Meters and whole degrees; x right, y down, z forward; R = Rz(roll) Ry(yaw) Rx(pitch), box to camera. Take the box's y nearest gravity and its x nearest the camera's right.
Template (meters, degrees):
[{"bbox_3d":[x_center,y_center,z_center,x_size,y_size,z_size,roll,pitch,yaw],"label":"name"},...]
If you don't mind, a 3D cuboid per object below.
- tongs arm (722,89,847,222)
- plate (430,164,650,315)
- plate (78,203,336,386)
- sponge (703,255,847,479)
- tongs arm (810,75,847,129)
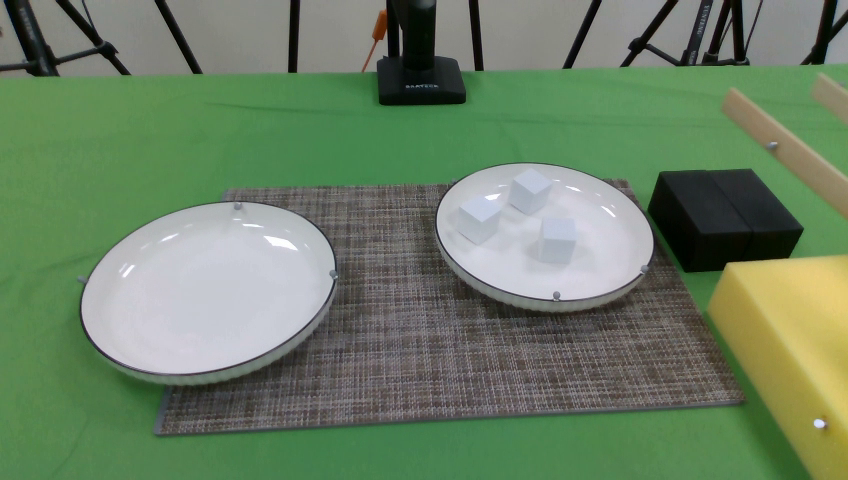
[{"bbox_3d":[0.341,0.004,0.419,0.028,0.028,0.383,-11,47,-19],"label":"tongs arm"},{"bbox_3d":[0.109,0.000,0.589,0.208,0.039,0.205,1,41,-1],"label":"plate"},{"bbox_3d":[-0.180,0.045,0.525,0.209,0.038,0.207,1,41,-1],"label":"plate"},{"bbox_3d":[0.325,0.105,0.466,0.118,0.061,0.204,-5,42,-7],"label":"sponge"},{"bbox_3d":[0.393,-0.007,0.430,0.051,0.027,0.380,-10,47,-13],"label":"tongs arm"}]
